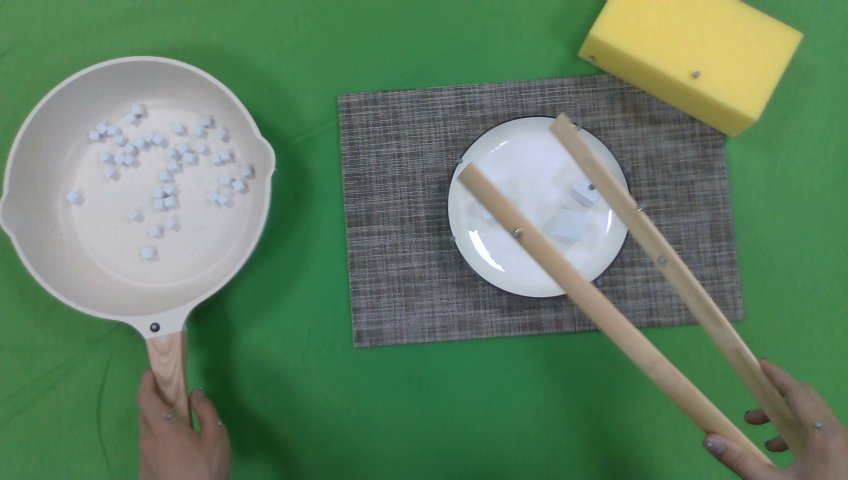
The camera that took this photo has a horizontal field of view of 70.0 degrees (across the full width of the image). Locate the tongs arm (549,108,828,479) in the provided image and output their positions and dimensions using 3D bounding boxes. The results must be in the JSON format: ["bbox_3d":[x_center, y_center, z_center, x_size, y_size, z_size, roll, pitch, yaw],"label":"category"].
[{"bbox_3d":[0.220,0.041,0.537,0.051,0.026,0.383,-29,78,-37],"label":"tongs arm"}]

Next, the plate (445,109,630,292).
[{"bbox_3d":[0.127,-0.043,0.692,0.208,0.039,0.207,0,85,1],"label":"plate"}]

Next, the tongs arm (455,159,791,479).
[{"bbox_3d":[0.168,0.074,0.492,0.387,0.028,0.028,45,48,3],"label":"tongs arm"}]

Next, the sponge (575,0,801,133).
[{"bbox_3d":[0.297,-0.228,0.695,0.206,0.061,0.118,29,84,5],"label":"sponge"}]

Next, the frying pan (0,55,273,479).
[{"bbox_3d":[-0.291,0.042,0.661,0.307,0.103,0.485,-12,77,1],"label":"frying pan"}]
